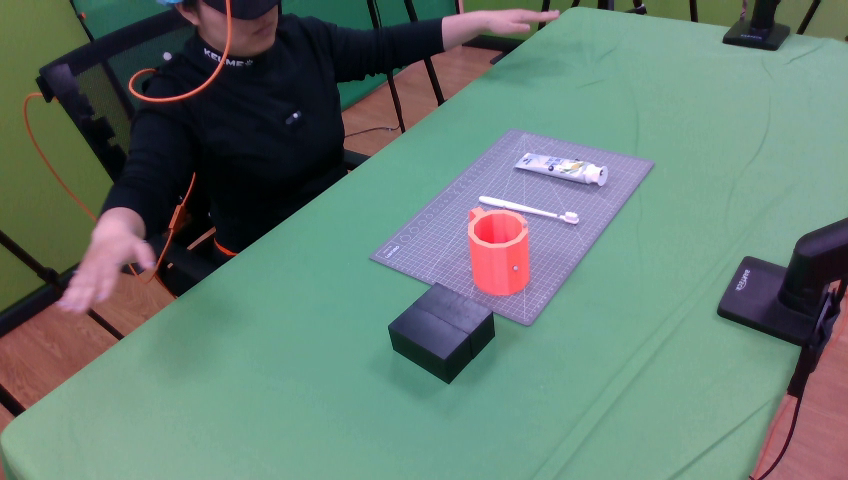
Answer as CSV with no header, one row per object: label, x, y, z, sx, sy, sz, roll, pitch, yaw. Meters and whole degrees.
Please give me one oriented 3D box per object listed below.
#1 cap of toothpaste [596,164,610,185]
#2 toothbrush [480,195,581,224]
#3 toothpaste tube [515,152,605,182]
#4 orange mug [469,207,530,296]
cap of toothpaste,0.307,-0.113,1.041,0.011,0.037,0.037,20,48,39
toothbrush,0.175,-0.054,1.016,0.180,0.017,0.014,15,59,29
toothpaste tube,0.248,-0.133,1.087,0.164,0.034,0.055,17,42,34
orange mug,0.104,0.008,0.894,0.084,0.101,0.125,-22,46,-14
